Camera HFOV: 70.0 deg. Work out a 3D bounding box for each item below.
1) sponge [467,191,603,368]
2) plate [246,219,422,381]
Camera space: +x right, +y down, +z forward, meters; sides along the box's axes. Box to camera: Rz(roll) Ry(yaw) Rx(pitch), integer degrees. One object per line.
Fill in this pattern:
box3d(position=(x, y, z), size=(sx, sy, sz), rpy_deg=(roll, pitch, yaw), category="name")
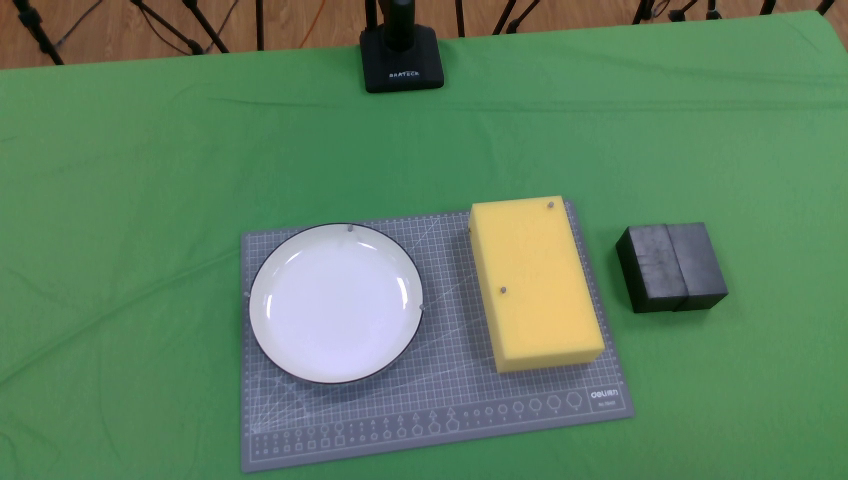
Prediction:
box3d(position=(0.130, 0.046, 0.750), size=(0.118, 0.061, 0.205), rpy_deg=(-7, 63, -7), category="sponge")
box3d(position=(-0.106, 0.072, 0.736), size=(0.209, 0.038, 0.207), rpy_deg=(2, 63, -3), category="plate")
